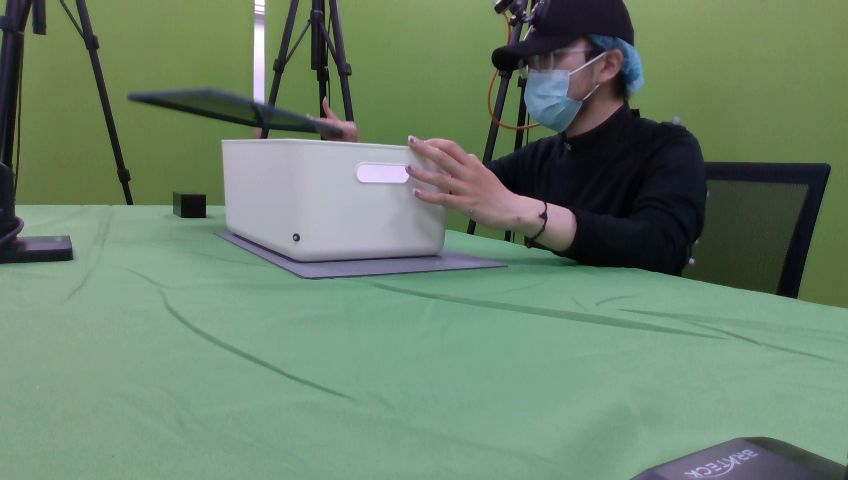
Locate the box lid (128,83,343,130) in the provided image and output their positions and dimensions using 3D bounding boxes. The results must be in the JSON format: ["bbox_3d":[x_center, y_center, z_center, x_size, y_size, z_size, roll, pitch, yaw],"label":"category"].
[{"bbox_3d":[-0.369,-0.264,1.232,0.262,0.015,0.373,5,1,28],"label":"box lid"}]

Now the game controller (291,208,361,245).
[{"bbox_3d":[-0.160,-0.024,0.967,0.097,0.051,0.154,-5,9,-15],"label":"game controller"}]

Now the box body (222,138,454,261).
[{"bbox_3d":[-0.151,-0.074,0.963,0.255,0.160,0.362,-2,9,-33],"label":"box body"}]
